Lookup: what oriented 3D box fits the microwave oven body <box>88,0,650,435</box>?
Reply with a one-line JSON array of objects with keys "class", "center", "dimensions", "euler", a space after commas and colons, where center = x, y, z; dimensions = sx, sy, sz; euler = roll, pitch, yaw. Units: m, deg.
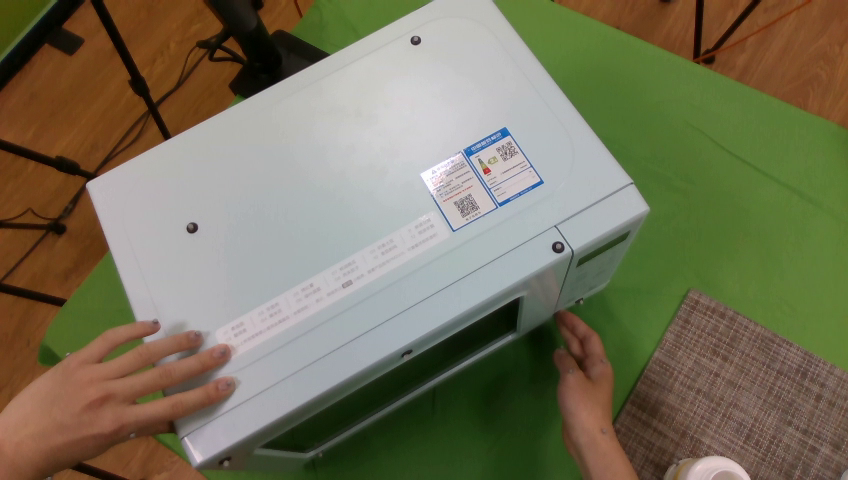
[{"class": "microwave oven body", "center": [-0.056, -0.016, 0.665], "dimensions": [0.442, 0.262, 0.323], "euler": [-30, 70, -4]}]

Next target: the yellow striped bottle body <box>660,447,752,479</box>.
[{"class": "yellow striped bottle body", "center": [0.283, 0.241, 0.606], "dimensions": [0.063, 0.121, 0.062], "euler": [-2, 69, 6]}]

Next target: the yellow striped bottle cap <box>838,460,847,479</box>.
[{"class": "yellow striped bottle cap", "center": [0.464, 0.253, 0.637], "dimensions": [0.044, 0.019, 0.044], "euler": [-3, 70, 8]}]

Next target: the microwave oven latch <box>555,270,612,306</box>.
[{"class": "microwave oven latch", "center": [0.181, 0.049, 0.717], "dimensions": [0.079, 0.030, 0.030], "euler": [-27, 70, -3]}]

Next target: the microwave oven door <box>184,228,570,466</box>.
[{"class": "microwave oven door", "center": [-0.023, 0.120, 0.606], "dimensions": [0.356, 0.245, 0.039], "euler": [-29, 68, -4]}]
